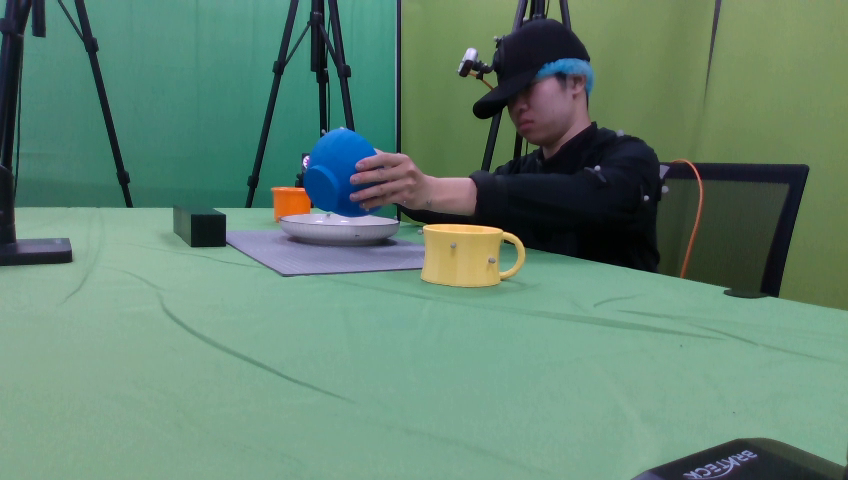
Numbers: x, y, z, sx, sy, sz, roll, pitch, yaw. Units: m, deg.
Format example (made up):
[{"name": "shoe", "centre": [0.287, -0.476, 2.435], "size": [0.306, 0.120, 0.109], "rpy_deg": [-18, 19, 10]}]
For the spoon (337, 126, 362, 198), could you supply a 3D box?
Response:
[{"name": "spoon", "centre": [-0.142, -0.145, 1.090], "size": [0.042, 0.021, 0.193], "rpy_deg": [-1, 43, -14]}]

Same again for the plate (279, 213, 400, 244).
[{"name": "plate", "centre": [-0.147, -0.020, 1.060], "size": [0.209, 0.038, 0.209], "rpy_deg": [3, 7, 0]}]

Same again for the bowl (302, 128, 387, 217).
[{"name": "bowl", "centre": [-0.140, -0.094, 0.961], "size": [0.150, 0.151, 0.077], "rpy_deg": [8, 32, 38]}]

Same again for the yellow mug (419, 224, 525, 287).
[{"name": "yellow mug", "centre": [0.060, 0.018, 0.746], "size": [0.131, 0.064, 0.100], "rpy_deg": [2, 7, -7]}]
